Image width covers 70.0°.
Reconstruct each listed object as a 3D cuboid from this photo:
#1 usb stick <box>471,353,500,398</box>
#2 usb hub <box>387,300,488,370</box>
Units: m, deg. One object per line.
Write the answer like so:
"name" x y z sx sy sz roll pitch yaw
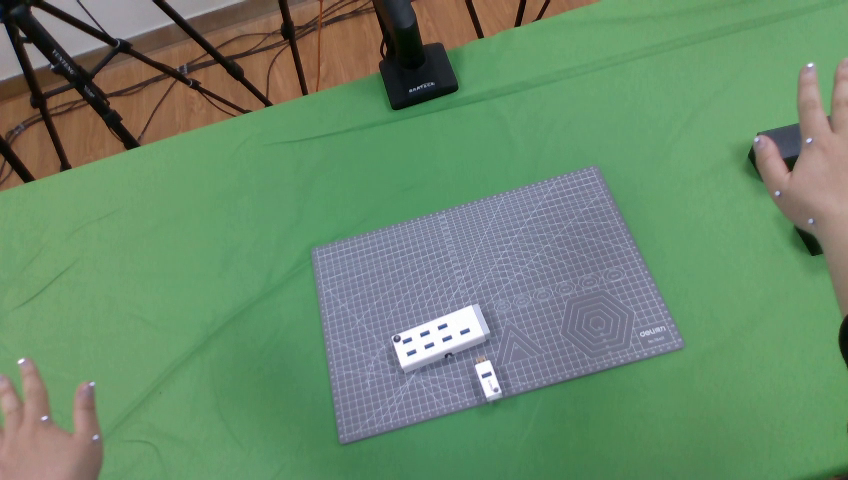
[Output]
"usb stick" 0.075 0.168 0.765 0.021 0.027 0.058 -22 56 2
"usb hub" 0.017 0.125 0.801 0.125 0.025 0.049 -21 59 -2
